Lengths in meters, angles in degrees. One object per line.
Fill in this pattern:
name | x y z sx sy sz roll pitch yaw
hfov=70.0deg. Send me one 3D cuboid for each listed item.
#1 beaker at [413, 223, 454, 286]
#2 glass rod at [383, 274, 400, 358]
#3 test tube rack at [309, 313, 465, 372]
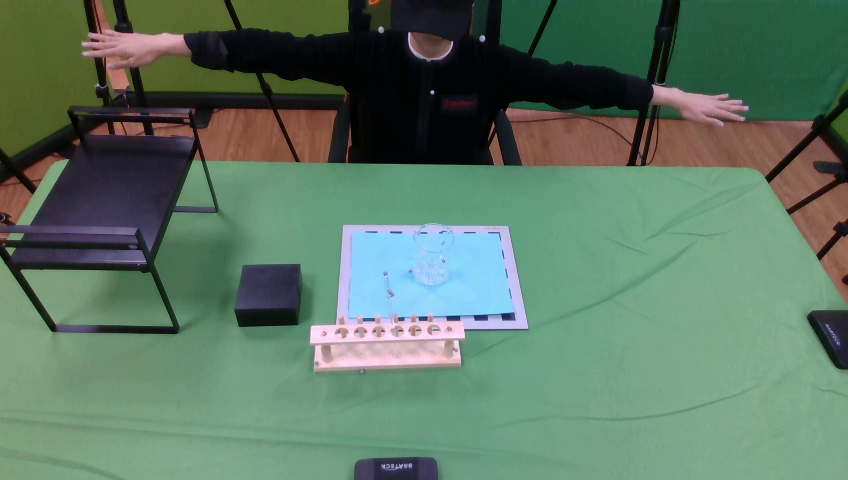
beaker | 0.018 0.028 1.109 0.084 0.101 0.073 -34 57 -31
glass rod | -0.049 0.122 0.936 0.008 0.201 0.008 -3 43 3
test tube rack | -0.059 0.161 0.990 0.242 0.085 0.066 -1 46 -5
